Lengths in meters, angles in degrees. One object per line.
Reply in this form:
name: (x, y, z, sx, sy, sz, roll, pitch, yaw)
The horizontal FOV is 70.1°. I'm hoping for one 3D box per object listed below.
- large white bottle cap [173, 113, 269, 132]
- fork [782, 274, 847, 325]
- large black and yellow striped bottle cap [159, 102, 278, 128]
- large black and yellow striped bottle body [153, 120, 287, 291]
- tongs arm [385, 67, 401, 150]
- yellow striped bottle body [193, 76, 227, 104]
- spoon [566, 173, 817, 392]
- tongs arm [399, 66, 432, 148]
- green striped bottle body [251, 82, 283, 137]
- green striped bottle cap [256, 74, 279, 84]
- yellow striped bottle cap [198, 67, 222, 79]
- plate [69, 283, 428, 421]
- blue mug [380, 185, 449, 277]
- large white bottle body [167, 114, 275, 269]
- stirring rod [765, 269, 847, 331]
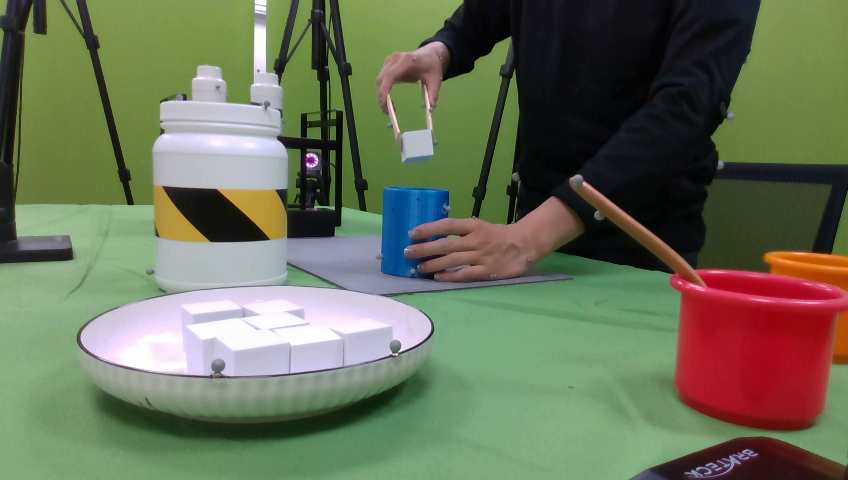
large white bottle cap: (-0.254, -0.146, 0.760, 0.115, 0.018, 0.115, 1, 7, 0)
fork: (0.332, 0.018, 0.443, 0.028, 0.018, 0.207, -1, -36, -15)
large black and yellow striped bottle cap: (-0.207, -0.125, 0.615, 0.115, 0.019, 0.115, 2, 6, 0)
large black and yellow striped bottle body: (-0.208, -0.043, 0.626, 0.131, 0.184, 0.130, 2, 7, 0)
tongs arm: (-0.042, -0.206, 0.895, 0.028, 0.028, 0.386, -8, 27, 0)
yellow striped bottle body: (-0.414, -0.268, 1.169, 0.063, 0.120, 0.063, 2, 7, 0)
spoon: (0.161, 0.024, 0.370, 0.193, 0.021, 0.042, 47, 18, 3)
tongs arm: (-0.017, -0.208, 0.896, 0.051, 0.026, 0.384, -3, 27, 1)
green striped bottle body: (-0.317, -0.270, 1.220, 0.063, 0.119, 0.063, 2, 7, 0)
green striped bottle cap: (-0.314, -0.321, 1.214, 0.044, 0.020, 0.044, 2, 9, 0)
yellow striped bottle cap: (-0.411, -0.320, 1.163, 0.044, 0.018, 0.044, 0, 6, 0)
plate: (-0.102, 0.066, 0.381, 0.208, 0.039, 0.207, 2, 7, 0)
blue mug: (-0.019, -0.016, 0.763, 0.083, 0.106, 0.116, -2, 8, -26)
large white bottle body: (-0.257, -0.063, 0.771, 0.131, 0.184, 0.130, 2, 7, 0)
stirring rod: (0.351, 0.020, 0.484, 0.176, 0.006, 0.014, -39, -5, 12)
